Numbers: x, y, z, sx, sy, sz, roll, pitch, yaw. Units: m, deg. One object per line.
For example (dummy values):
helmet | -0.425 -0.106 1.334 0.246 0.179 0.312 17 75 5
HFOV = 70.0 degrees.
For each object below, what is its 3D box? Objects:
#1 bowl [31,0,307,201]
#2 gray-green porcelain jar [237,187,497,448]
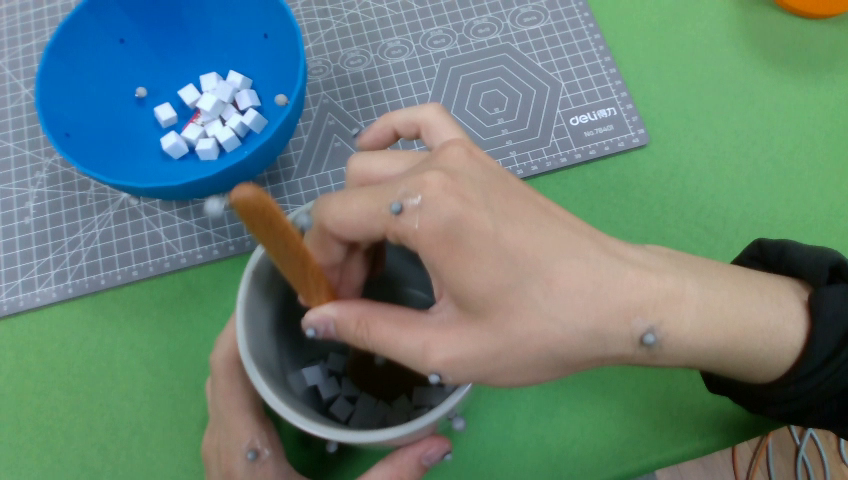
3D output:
bowl | -0.140 -0.083 0.370 0.151 0.077 0.150 0 70 1
gray-green porcelain jar | -0.021 0.047 0.300 0.106 0.127 0.105 0 69 1
